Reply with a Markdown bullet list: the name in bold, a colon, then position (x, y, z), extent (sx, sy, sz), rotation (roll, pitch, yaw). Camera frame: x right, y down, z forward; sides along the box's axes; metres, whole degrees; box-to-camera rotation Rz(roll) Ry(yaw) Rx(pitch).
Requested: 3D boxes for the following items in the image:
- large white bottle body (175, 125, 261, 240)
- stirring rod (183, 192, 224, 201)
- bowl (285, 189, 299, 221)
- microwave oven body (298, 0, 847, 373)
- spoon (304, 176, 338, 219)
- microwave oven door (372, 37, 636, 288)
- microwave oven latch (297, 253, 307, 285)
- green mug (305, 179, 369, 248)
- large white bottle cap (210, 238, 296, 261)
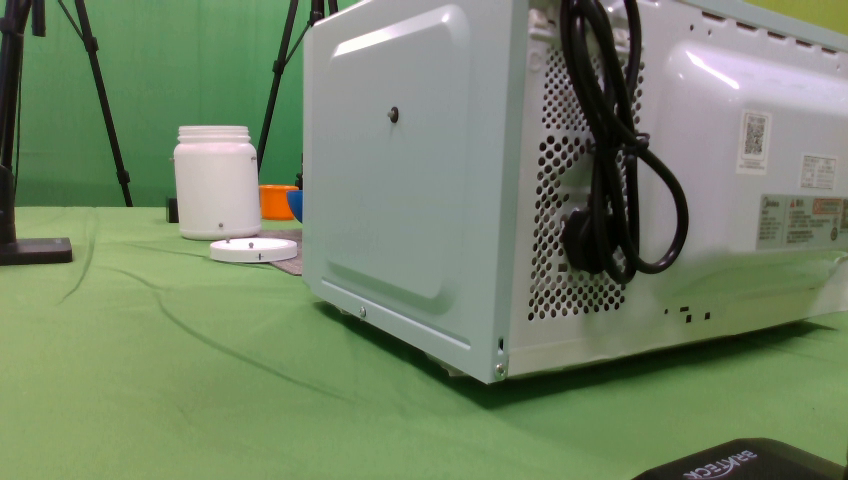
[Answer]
- **large white bottle body**: position (-0.349, -0.100, 1.025), extent (0.131, 0.184, 0.130), rotation (-1, 9, 0)
- **stirring rod**: position (-0.474, -0.094, 1.293), extent (0.175, 0.006, 0.014), rotation (12, 5, 44)
- **bowl**: position (-0.180, -0.051, 1.113), extent (0.151, 0.077, 0.151), rotation (3, 8, 0)
- **microwave oven body**: position (0.151, -0.055, 0.543), extent (0.444, 0.260, 0.324), rotation (-1, 7, -33)
- **spoon**: position (-0.201, -0.084, 1.146), extent (0.042, 0.021, 0.193), rotation (2, 30, -25)
- **microwave oven door**: position (0.110, -0.080, 0.686), extent (0.358, 0.243, 0.039), rotation (-2, 9, -33)
- **microwave oven latch**: position (-0.082, 0.027, 0.582), extent (0.079, 0.029, 0.030), rotation (-1, 8, -33)
- **green mug**: position (-0.133, -0.044, 0.977), extent (0.092, 0.105, 0.126), rotation (6, 8, 32)
- **large white bottle cap**: position (-0.236, 0.012, 0.839), extent (0.115, 0.018, 0.115), rotation (1, 7, 0)
